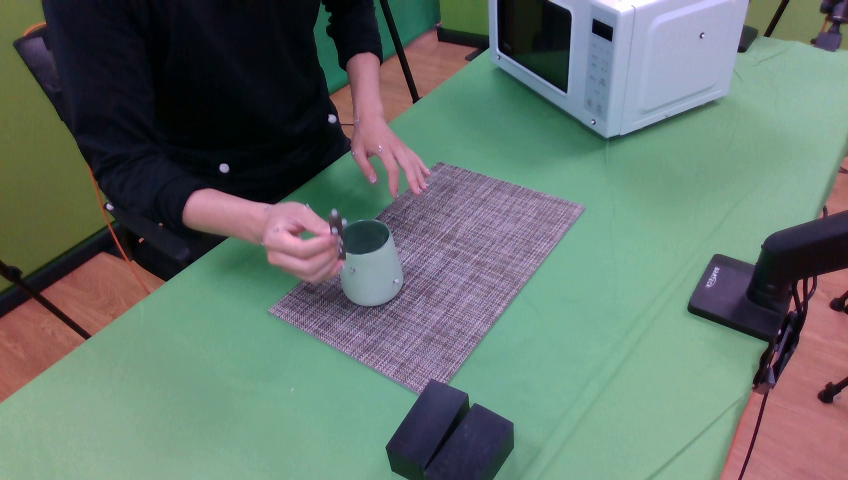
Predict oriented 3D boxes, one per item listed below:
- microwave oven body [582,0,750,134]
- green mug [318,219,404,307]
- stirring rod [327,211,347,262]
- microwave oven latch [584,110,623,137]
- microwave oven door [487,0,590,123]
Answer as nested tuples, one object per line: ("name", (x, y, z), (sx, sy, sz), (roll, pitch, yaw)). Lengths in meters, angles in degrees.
("microwave oven body", (0.382, -0.445, 1.246), (0.327, 0.261, 0.437), (-22, 42, -16))
("green mug", (-0.096, 0.032, 0.876), (0.125, 0.105, 0.092), (8, 43, 17))
("stirring rod", (-0.099, -0.001, 0.694), (0.014, 0.176, 0.006), (-16, 75, -10))
("microwave oven latch", (0.337, -0.222, 1.142), (0.030, 0.029, 0.078), (-21, 42, -14))
("microwave oven door", (0.232, -0.420, 1.230), (0.039, 0.245, 0.352), (-22, 43, -16))
